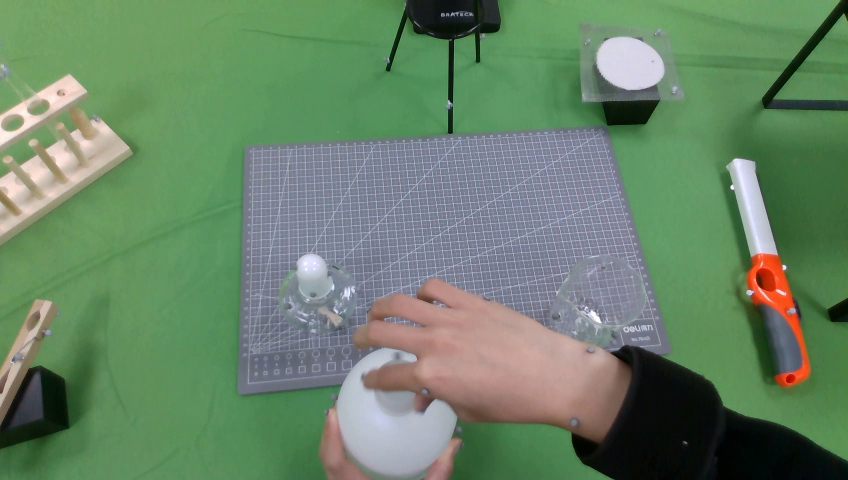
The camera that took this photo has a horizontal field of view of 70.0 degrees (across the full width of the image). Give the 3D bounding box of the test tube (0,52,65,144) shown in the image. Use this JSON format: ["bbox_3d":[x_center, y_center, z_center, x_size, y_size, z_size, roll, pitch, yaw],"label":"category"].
[{"bbox_3d":[-0.412,-0.149,0.631,0.017,0.151,0.017,0,62,0],"label":"test tube"}]

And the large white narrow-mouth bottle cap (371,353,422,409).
[{"bbox_3d":[-0.020,0.100,0.431,0.038,0.024,0.037,1,64,-3],"label":"large white narrow-mouth bottle cap"}]

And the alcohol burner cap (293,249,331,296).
[{"bbox_3d":[-0.106,0.028,0.561,0.034,0.048,0.033,0,59,0],"label":"alcohol burner cap"}]

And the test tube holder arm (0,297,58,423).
[{"bbox_3d":[-0.371,0.134,0.537,0.013,0.015,0.177,8,65,7],"label":"test tube holder arm"}]

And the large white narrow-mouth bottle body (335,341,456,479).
[{"bbox_3d":[-0.024,0.141,0.511,0.102,0.196,0.101,1,64,-2],"label":"large white narrow-mouth bottle body"}]

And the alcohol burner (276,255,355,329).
[{"bbox_3d":[-0.107,0.044,0.594,0.078,0.120,0.077,2,62,-4],"label":"alcohol burner"}]

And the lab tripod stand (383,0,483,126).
[{"bbox_3d":[0.020,-0.234,0.728,0.148,0.132,0.147,2,65,-4],"label":"lab tripod stand"}]

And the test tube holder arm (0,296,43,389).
[{"bbox_3d":[-0.370,0.094,0.557,0.010,0.015,0.087,6,64,6],"label":"test tube holder arm"}]

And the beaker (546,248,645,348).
[{"bbox_3d":[0.164,0.063,0.609,0.084,0.101,0.073,-3,64,-4],"label":"beaker"}]

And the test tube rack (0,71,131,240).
[{"bbox_3d":[-0.450,-0.068,0.644,0.066,0.086,0.242,41,69,15],"label":"test tube rack"}]

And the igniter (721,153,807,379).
[{"bbox_3d":[0.382,0.021,0.686,0.057,0.025,0.274,6,64,-12],"label":"igniter"}]

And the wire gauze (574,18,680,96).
[{"bbox_3d":[0.249,-0.227,0.754,0.121,0.011,0.124,3,64,-2],"label":"wire gauze"}]
